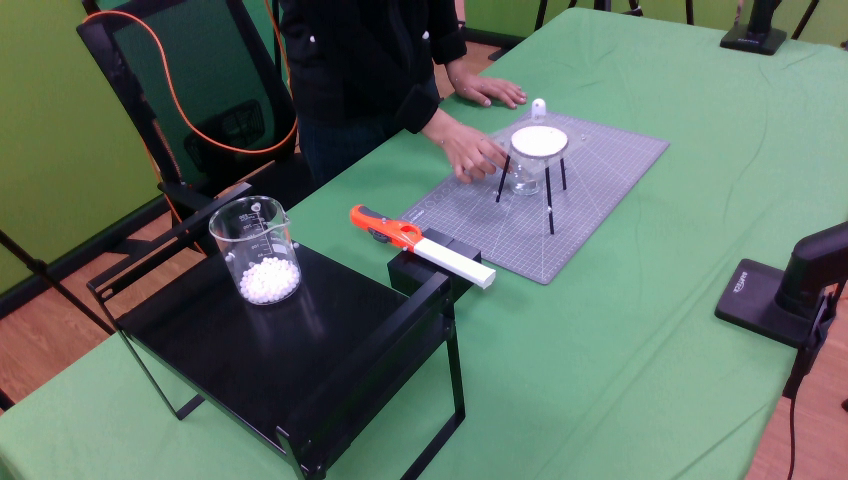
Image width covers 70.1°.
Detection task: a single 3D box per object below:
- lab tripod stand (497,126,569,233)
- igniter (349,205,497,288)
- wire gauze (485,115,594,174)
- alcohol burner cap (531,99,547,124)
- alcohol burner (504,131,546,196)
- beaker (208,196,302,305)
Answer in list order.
[{"bbox_3d":[0.189,-0.104,0.979,0.148,0.132,0.147,-3,41,3],"label":"lab tripod stand"},{"bbox_3d":[-0.013,0.004,0.897,0.274,0.025,0.057,25,44,32],"label":"igniter"},{"bbox_3d":[0.177,-0.154,0.935,0.122,0.011,0.124,-26,45,-21],"label":"wire gauze"},{"bbox_3d":[0.234,-0.264,1.231,0.034,0.048,0.033,-5,41,5],"label":"alcohol burner cap"},{"bbox_3d":[0.175,-0.136,1.035,0.078,0.119,0.077,-5,39,4],"label":"alcohol burner"},{"bbox_3d":[-0.173,0.014,0.647,0.084,0.101,0.073,-1,41,8],"label":"beaker"}]
